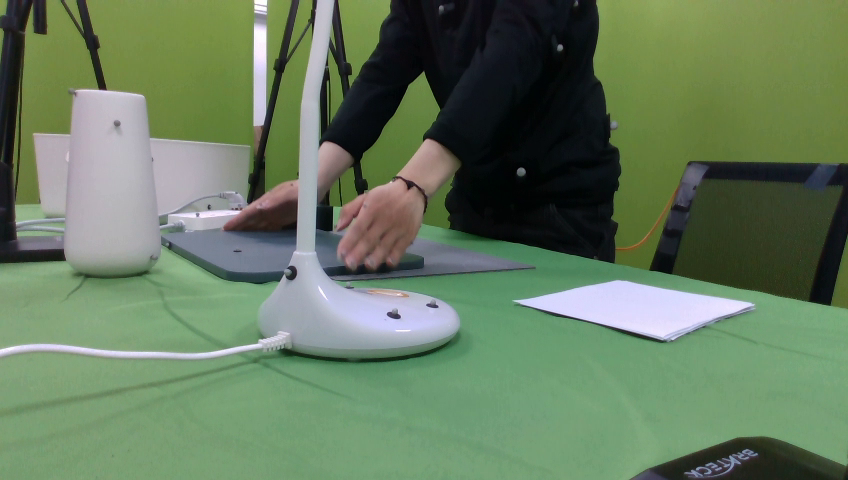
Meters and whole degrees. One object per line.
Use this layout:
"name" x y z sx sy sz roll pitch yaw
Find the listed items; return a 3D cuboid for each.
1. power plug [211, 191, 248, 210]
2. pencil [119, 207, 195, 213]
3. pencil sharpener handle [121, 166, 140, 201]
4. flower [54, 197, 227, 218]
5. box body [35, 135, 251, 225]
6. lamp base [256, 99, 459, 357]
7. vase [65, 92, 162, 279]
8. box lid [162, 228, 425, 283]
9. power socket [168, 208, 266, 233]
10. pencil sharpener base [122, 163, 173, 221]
"power plug" -0.384 -0.071 1.205 0.072 0.052 0.035 1 8 28
"pencil" -0.586 -0.068 1.343 0.012 0.012 0.195 6 7 28
"pencil sharpener handle" -0.585 -0.112 1.193 0.030 0.067 0.036 6 14 21
"flower" -0.573 -0.058 1.266 0.044 0.038 0.364 37 21 33
"box body" -0.559 -0.127 1.257 0.253 0.160 0.365 4 8 15
"lamp base" -0.055 -0.013 0.463 0.160 0.180 0.180 6 11 27
"vase" -0.347 -0.060 0.673 0.098 0.200 0.098 1 7 0
"box lid" -0.200 0.014 0.861 0.265 0.015 0.369 -3 9 -35
"power socket" -0.379 -0.038 1.129 0.072 0.032 0.227 4 8 18
"pencil sharpener base" -0.539 -0.095 1.176 0.076 0.107 0.061 6 9 21
